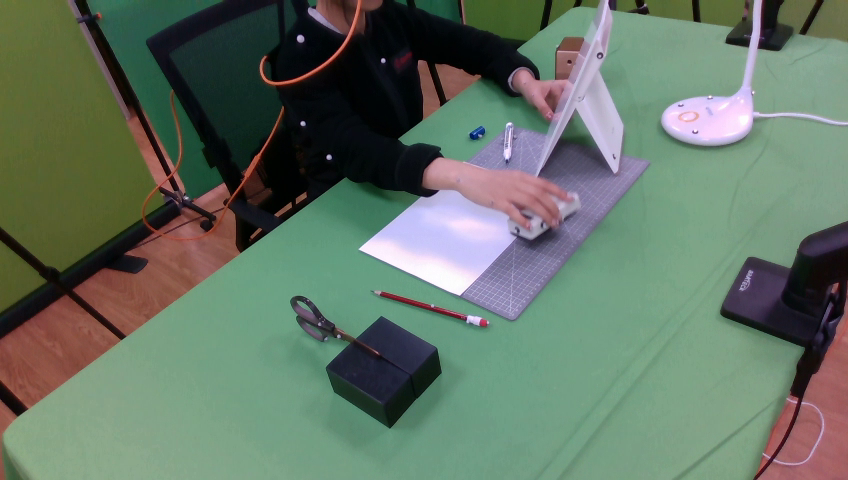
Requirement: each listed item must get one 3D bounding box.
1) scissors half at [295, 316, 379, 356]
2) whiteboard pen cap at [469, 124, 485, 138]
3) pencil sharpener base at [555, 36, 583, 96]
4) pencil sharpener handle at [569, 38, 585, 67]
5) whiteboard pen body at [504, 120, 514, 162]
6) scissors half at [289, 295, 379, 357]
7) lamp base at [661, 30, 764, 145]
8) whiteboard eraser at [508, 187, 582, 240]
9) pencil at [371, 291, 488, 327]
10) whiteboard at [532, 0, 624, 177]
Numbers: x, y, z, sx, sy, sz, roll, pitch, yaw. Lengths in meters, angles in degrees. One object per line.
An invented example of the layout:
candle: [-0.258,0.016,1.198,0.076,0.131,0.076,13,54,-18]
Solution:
scissors half: [-0.119,0.131,0.813,0.173,0.040,0.013,9,34,45]
whiteboard pen cap: [0.107,-0.220,1.224,0.033,0.018,0.018,-37,48,-24]
pencil sharpener base: [0.318,-0.371,1.290,0.061,0.107,0.076,10,44,22]
pencil sharpener handle: [0.333,-0.413,1.318,0.036,0.068,0.030,19,46,13]
whiteboard pen body: [0.165,-0.192,1.177,0.017,0.017,0.140,0,42,11]
scissors half: [-0.122,0.114,0.803,0.174,0.040,0.013,26,50,32]
lamp base: [0.535,-0.287,1.096,0.179,0.181,0.159,-10,40,-4]
whiteboard eraser: [0.187,-0.040,0.933,0.113,0.042,0.055,-33,29,-23]
pencil: [0.003,0.097,0.877,0.193,0.012,0.012,13,45,26]
whiteboard: [0.320,-0.258,1.050,0.144,0.306,0.217,21,45,4]
